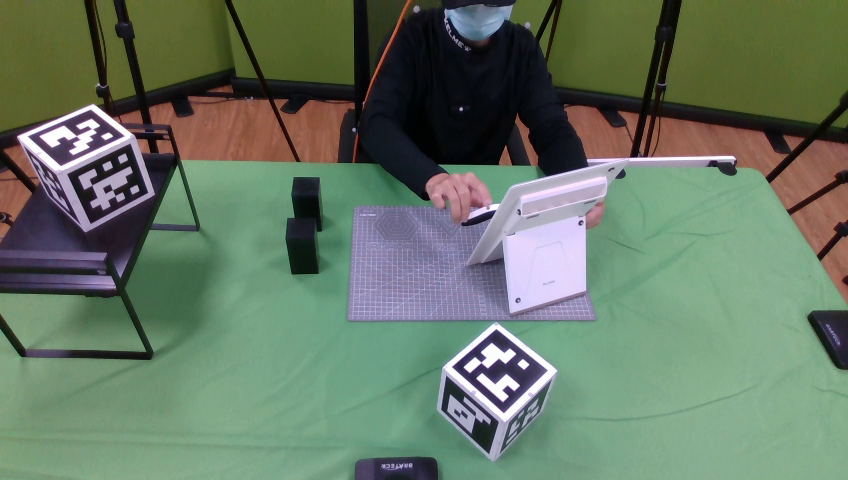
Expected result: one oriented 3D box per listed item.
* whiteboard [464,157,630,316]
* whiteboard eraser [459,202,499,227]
[{"bbox_3d":[0.224,0.015,1.042,0.217,0.306,0.143,-13,68,-17],"label":"whiteboard"},{"bbox_3d":[0.101,-0.047,1.077,0.041,0.101,0.019,-3,76,-35],"label":"whiteboard eraser"}]
